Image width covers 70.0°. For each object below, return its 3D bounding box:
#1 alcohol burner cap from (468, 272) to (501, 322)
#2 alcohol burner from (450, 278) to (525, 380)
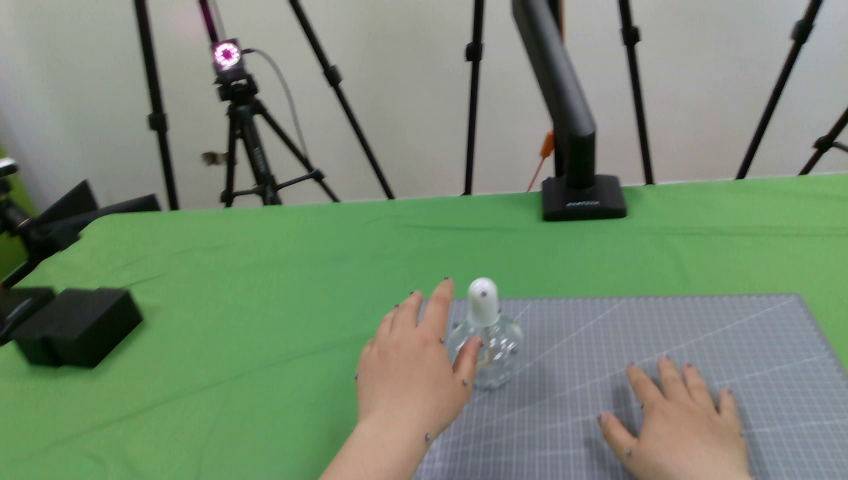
[{"bbox_3d":[0.059,0.053,0.595,0.034,0.048,0.033,-2,34,2],"label":"alcohol burner cap"},{"bbox_3d":[0.063,0.084,0.614,0.078,0.120,0.077,-5,33,4],"label":"alcohol burner"}]
